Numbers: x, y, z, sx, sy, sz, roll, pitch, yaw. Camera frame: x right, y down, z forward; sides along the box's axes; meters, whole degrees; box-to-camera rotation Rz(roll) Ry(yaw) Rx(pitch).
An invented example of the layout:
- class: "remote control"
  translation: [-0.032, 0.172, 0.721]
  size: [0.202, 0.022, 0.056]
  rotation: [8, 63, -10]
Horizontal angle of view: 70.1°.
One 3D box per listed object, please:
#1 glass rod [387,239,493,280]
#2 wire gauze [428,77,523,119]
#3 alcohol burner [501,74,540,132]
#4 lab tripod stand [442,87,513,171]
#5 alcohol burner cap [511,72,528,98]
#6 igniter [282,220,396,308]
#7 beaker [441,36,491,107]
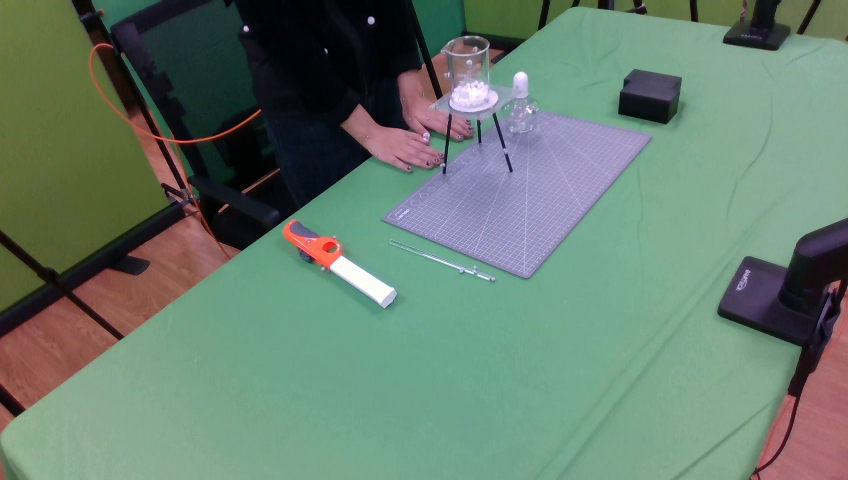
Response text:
- class: "glass rod"
  translation: [0.021, 0.028, 0.953]
  size: [0.198, 0.008, 0.008]
  rotation: [19, 48, 29]
- class: "wire gauze"
  translation: [0.090, -0.248, 1.063]
  size: [0.120, 0.011, 0.125]
  rotation: [24, 48, 30]
- class: "alcohol burner"
  translation: [0.191, -0.275, 1.194]
  size: [0.078, 0.119, 0.077]
  rotation: [-4, 42, 4]
- class: "lab tripod stand"
  translation: [0.097, -0.200, 1.108]
  size: [0.148, 0.132, 0.147]
  rotation: [-4, 40, 4]
- class: "alcohol burner cap"
  translation: [0.185, -0.302, 1.171]
  size: [0.034, 0.048, 0.033]
  rotation: [-2, 42, 2]
- class: "igniter"
  translation: [-0.146, 0.032, 0.966]
  size: [0.274, 0.025, 0.057]
  rotation: [30, 64, 37]
- class: "beaker"
  translation: [0.074, -0.287, 1.036]
  size: [0.084, 0.101, 0.073]
  rotation: [-1, 41, 8]
